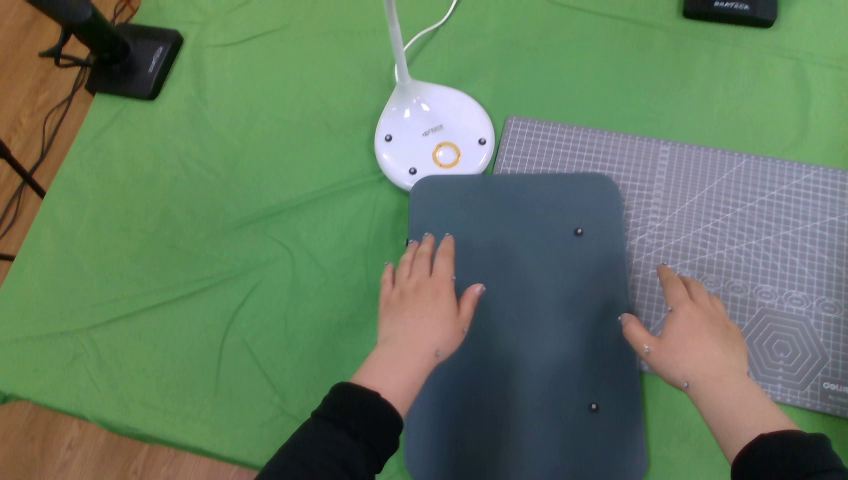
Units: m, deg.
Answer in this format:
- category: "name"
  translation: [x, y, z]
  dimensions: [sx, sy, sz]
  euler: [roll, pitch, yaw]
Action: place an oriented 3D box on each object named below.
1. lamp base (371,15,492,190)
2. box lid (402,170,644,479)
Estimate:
- category: "lamp base"
  translation: [-0.007, -0.170, 0.731]
  dimensions: [0.160, 0.182, 0.177]
  euler: [-36, 67, -7]
- category: "box lid"
  translation: [0.107, 0.088, 0.705]
  dimensions: [0.263, 0.015, 0.369]
  euler: [-1, 72, 4]
